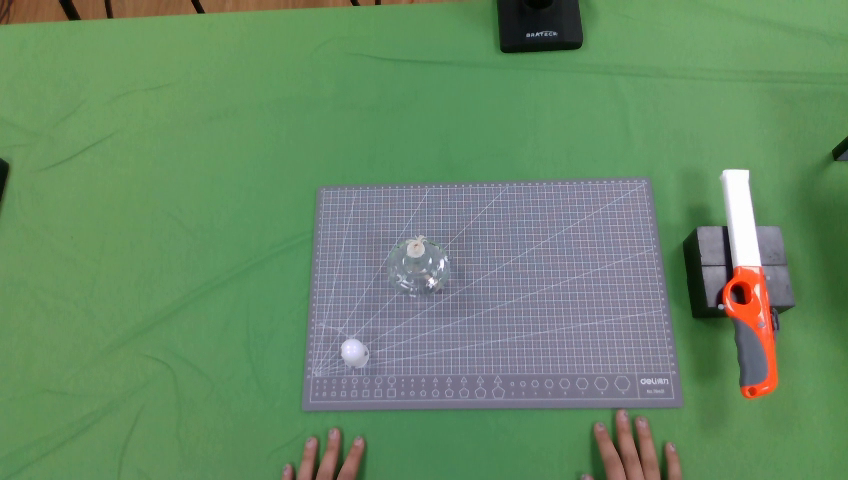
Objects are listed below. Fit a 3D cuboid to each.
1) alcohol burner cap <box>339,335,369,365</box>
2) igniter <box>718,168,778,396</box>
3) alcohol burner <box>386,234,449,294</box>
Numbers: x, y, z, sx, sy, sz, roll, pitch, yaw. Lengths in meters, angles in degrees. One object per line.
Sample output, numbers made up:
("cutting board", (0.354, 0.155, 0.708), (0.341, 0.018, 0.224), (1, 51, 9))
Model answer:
("alcohol burner cap", (-0.086, 0.131, 0.727), (0.034, 0.048, 0.033), (-1, 69, 4))
("igniter", (0.370, 0.041, 0.699), (0.057, 0.025, 0.274), (2, 68, 7))
("alcohol burner", (-0.009, 0.023, 0.725), (0.078, 0.120, 0.077), (0, 69, 1))
